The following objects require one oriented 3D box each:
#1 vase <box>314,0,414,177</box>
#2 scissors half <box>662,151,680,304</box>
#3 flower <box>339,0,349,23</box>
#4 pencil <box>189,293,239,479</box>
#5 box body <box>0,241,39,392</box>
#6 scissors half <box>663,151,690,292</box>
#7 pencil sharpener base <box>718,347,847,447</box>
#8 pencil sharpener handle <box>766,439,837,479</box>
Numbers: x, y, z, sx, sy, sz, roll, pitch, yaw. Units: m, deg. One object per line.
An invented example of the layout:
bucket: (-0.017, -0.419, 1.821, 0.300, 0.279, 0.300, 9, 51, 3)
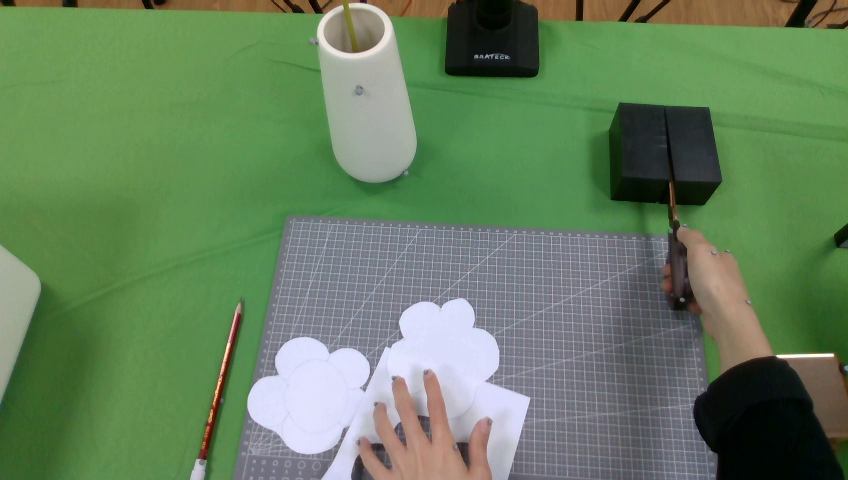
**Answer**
vase: (-0.063, -0.152, 0.637, 0.098, 0.201, 0.097, -1, 63, 2)
scissors half: (0.260, -0.017, 0.643, 0.013, 0.040, 0.174, 3, 73, 10)
flower: (-0.071, -0.201, 0.568, 0.044, 0.365, 0.038, -4, 46, 3)
pencil: (-0.206, 0.142, 0.604, 0.012, 0.012, 0.192, 4, 63, 3)
box body: (-0.540, 0.144, 0.523, 0.254, 0.161, 0.361, 3, 64, 3)
scissors half: (0.257, -0.026, 0.624, 0.013, 0.040, 0.173, 5, 55, 5)
pencil sharpener base: (0.318, 0.146, 0.538, 0.061, 0.108, 0.076, -1, 65, 0)
pencil sharpener handle: (0.315, 0.186, 0.505, 0.036, 0.068, 0.030, 5, 64, -12)
